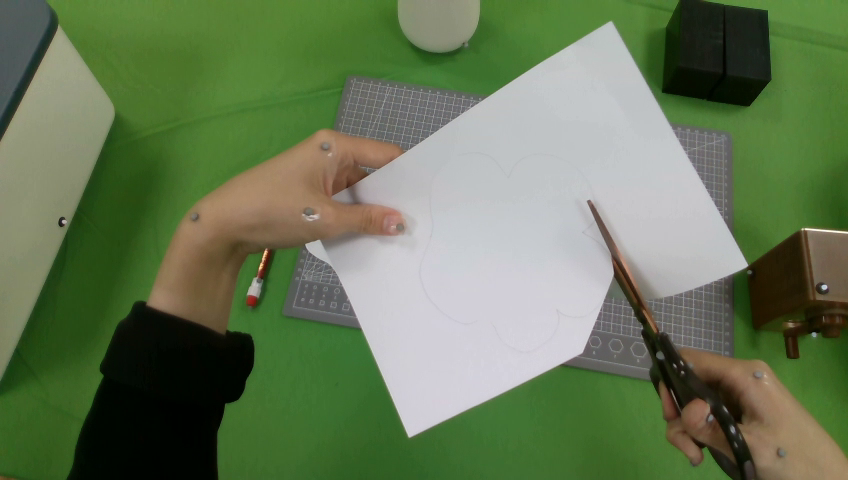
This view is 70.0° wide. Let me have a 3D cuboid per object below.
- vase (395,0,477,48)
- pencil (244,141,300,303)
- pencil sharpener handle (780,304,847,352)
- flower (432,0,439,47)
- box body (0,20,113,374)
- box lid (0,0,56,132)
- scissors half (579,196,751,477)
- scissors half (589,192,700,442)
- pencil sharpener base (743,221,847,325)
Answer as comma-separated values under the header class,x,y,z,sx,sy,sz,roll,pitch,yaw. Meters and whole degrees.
class,x,y,z,sx,sy,sz,roll,pitch,yaw
vase,0.013,-0.304,0.657,0.098,0.201,0.097,0,67,1
pencil,-0.159,-0.025,0.648,0.012,0.012,0.193,10,67,4
pencil sharpener handle,0.351,0.081,0.545,0.036,0.068,0.030,10,68,-11
flower,0.009,-0.348,0.585,0.044,0.365,0.038,2,50,4
box body,-0.494,-0.051,0.573,0.254,0.161,0.361,9,69,3
box lid,-0.494,-0.081,0.503,0.263,0.015,0.369,10,68,3
scissors half,0.132,0.050,0.339,0.013,0.040,0.174,-27,77,-3
scissors half,0.131,0.049,0.363,0.013,0.039,0.176,-27,109,1
pencil sharpener base,0.359,0.039,0.575,0.061,0.108,0.076,5,69,2
